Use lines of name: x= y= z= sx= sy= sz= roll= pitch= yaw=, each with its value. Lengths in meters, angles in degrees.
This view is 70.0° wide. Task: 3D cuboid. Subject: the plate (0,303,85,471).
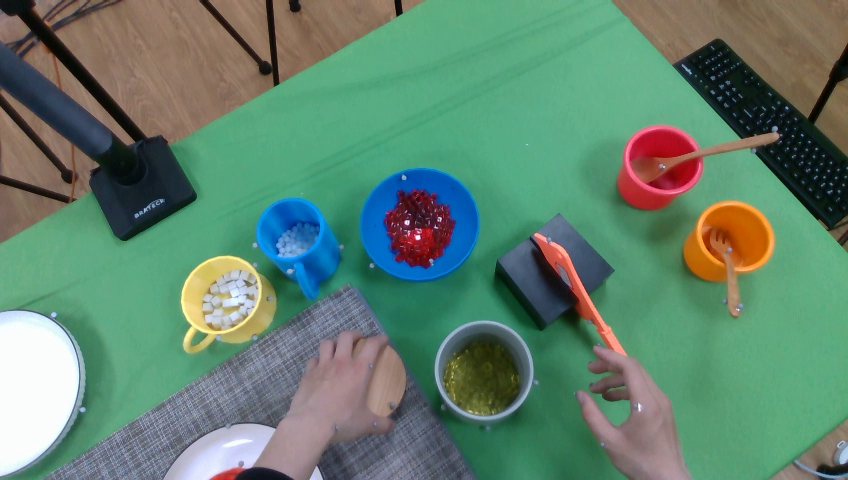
plate: x=-0.526 y=0.184 z=0.763 sx=0.207 sy=0.039 sz=0.206 roll=-1 pitch=71 yaw=3

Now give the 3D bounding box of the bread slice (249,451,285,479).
bread slice: x=-0.219 y=0.318 z=0.702 sx=0.131 sy=0.019 sz=0.104 roll=-19 pitch=71 yaw=-7

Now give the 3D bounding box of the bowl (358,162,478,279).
bowl: x=-0.005 y=-0.014 z=0.782 sx=0.151 sy=0.077 sz=0.150 roll=-1 pitch=72 yaw=3

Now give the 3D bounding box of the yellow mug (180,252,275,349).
yellow mug: x=-0.257 y=0.084 z=0.768 sx=0.099 sy=0.064 sz=0.130 roll=33 pitch=77 yaw=13

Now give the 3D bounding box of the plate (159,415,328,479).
plate: x=-0.207 y=0.312 z=0.700 sx=0.209 sy=0.038 sz=0.207 roll=-1 pitch=71 yaw=3

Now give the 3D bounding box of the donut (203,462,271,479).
donut: x=-0.211 y=0.300 z=0.674 sx=0.099 sy=0.048 sz=0.098 roll=0 pitch=70 yaw=0

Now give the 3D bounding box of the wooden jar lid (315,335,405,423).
wooden jar lid: x=-0.077 y=0.169 z=0.735 sx=0.108 sy=0.021 sz=0.107 roll=0 pitch=60 yaw=1

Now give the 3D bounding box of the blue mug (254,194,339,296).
blue mug: x=-0.155 y=0.015 z=0.766 sx=0.082 sy=0.106 sz=0.115 roll=-13 pitch=71 yaw=-1

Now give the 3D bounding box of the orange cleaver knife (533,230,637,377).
orange cleaver knife: x=0.195 y=0.076 z=0.739 sx=0.012 sy=0.077 sz=0.212 roll=-35 pitch=103 yaw=-8

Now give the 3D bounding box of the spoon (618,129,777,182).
spoon: x=0.336 y=-0.108 z=0.760 sx=0.022 sy=0.193 sz=0.041 roll=29 pitch=62 yaw=-35

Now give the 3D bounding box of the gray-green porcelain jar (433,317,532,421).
gray-green porcelain jar: x=0.065 y=0.153 z=0.697 sx=0.106 sy=0.127 sz=0.105 roll=-1 pitch=71 yaw=3

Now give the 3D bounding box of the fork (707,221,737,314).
fork: x=0.352 y=0.027 z=0.712 sx=0.028 sy=0.019 sz=0.206 roll=28 pitch=31 yaw=6
